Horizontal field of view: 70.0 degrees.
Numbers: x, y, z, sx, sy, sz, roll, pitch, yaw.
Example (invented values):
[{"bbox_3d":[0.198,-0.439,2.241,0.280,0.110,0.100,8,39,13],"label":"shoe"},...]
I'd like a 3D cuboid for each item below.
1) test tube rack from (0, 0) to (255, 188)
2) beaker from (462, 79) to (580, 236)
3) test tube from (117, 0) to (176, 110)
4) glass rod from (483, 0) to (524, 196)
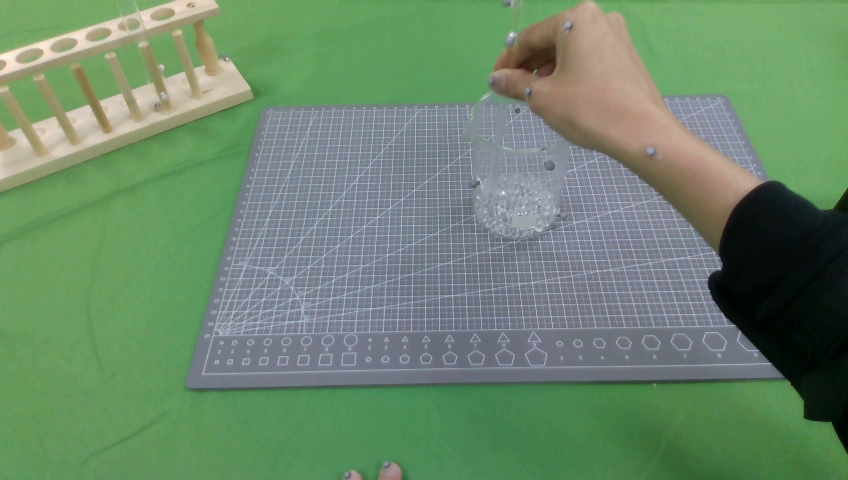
[{"bbox_3d":[-0.291,-0.143,0.554,0.242,0.086,0.066,-26,54,-18],"label":"test tube rack"},{"bbox_3d":[0.069,-0.057,0.459,0.084,0.101,0.073,-15,51,-8],"label":"beaker"},{"bbox_3d":[-0.245,-0.178,0.523,0.017,0.151,0.017,0,48,1],"label":"test tube"},{"bbox_3d":[0.054,-0.100,0.417,0.008,0.201,0.008,1,52,-1],"label":"glass rod"}]
